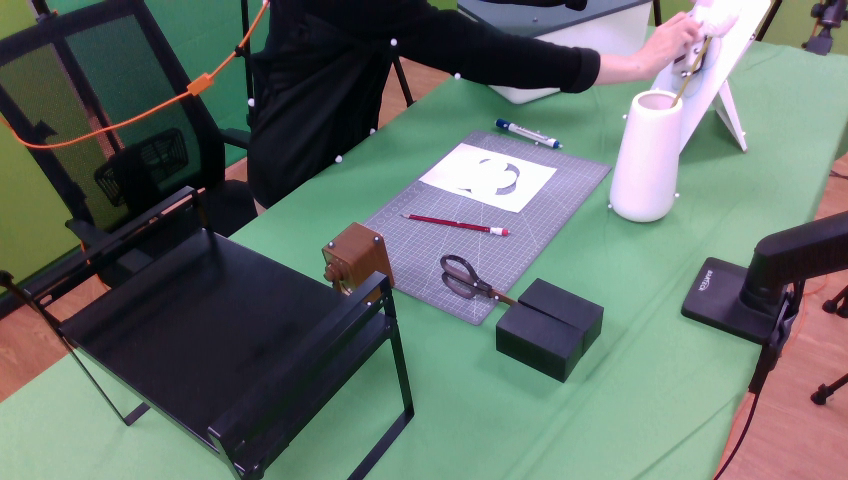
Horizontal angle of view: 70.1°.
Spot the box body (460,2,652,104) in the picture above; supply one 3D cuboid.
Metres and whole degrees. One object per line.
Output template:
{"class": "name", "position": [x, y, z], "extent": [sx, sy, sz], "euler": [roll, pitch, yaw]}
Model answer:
{"class": "box body", "position": [0.291, -0.465, 1.371], "extent": [0.365, 0.161, 0.252], "euler": [-22, 42, -16]}

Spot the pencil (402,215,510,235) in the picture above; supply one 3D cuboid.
{"class": "pencil", "position": [0.049, -0.027, 1.008], "extent": [0.193, 0.012, 0.012], "euler": [9, 43, 22]}

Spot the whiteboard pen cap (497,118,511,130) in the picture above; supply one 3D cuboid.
{"class": "whiteboard pen cap", "position": [0.165, -0.235, 1.227], "extent": [0.033, 0.018, 0.018], "euler": [31, 53, 30]}

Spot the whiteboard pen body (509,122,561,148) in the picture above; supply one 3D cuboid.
{"class": "whiteboard pen body", "position": [0.208, -0.212, 1.195], "extent": [0.139, 0.017, 0.017], "euler": [31, 53, 32]}

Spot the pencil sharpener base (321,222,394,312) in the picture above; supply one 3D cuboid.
{"class": "pencil sharpener base", "position": [-0.096, 0.041, 0.873], "extent": [0.061, 0.107, 0.077], "euler": [25, 53, 32]}

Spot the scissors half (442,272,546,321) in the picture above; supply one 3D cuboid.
{"class": "scissors half", "position": [0.094, 0.081, 0.838], "extent": [0.173, 0.040, 0.013], "euler": [19, 45, 39]}

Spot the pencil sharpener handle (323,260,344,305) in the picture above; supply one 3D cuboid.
{"class": "pencil sharpener handle", "position": [-0.131, 0.062, 0.839], "extent": [0.035, 0.068, 0.031], "euler": [29, 55, 27]}

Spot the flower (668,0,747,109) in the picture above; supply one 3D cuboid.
{"class": "flower", "position": [0.355, -0.187, 0.879], "extent": [0.038, 0.362, 0.044], "euler": [30, 48, 14]}

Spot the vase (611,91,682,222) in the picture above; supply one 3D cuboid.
{"class": "vase", "position": [0.348, -0.125, 0.936], "extent": [0.098, 0.201, 0.097], "euler": [-3, 40, 3]}

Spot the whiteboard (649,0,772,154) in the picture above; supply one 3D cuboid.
{"class": "whiteboard", "position": [0.543, -0.298, 1.076], "extent": [0.144, 0.305, 0.216], "euler": [12, 40, -7]}

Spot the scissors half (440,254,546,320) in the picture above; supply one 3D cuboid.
{"class": "scissors half", "position": [0.092, 0.065, 0.825], "extent": [0.174, 0.040, 0.013], "euler": [31, 57, 25]}

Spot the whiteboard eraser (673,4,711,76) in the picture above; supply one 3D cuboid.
{"class": "whiteboard eraser", "position": [0.466, -0.342, 1.041], "extent": [0.042, 0.055, 0.112], "euler": [12, 85, -9]}

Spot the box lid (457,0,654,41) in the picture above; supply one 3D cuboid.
{"class": "box lid", "position": [0.285, -0.522, 1.323], "extent": [0.373, 0.015, 0.261], "euler": [-22, 43, -16]}
